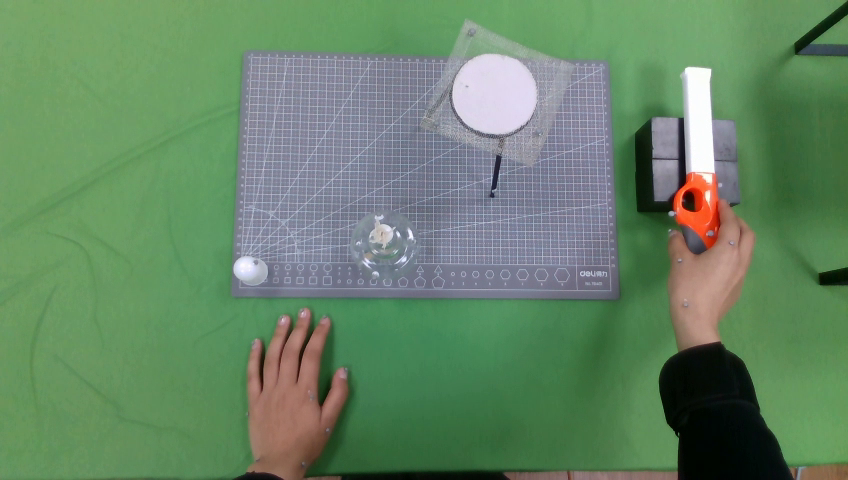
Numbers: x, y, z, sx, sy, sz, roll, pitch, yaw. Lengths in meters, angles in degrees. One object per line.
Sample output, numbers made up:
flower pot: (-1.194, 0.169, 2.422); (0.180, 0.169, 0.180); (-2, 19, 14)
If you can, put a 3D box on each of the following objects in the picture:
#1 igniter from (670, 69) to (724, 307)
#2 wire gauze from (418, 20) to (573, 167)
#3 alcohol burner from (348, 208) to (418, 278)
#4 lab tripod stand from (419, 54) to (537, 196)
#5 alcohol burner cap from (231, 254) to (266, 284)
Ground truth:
igniter: (0.306, -0.061, 0.681); (0.057, 0.025, 0.275); (4, 79, -1)
wire gauze: (0.073, -0.146, 0.604); (0.121, 0.011, 0.124); (23, 79, 1)
alcohol burner: (-0.045, 0.001, 0.651); (0.078, 0.119, 0.077); (1, 82, -3)
lab tripod stand: (0.068, -0.137, 0.670); (0.148, 0.132, 0.147); (1, 78, -3)
alcohol burner cap: (-0.197, 0.030, 0.673); (0.034, 0.048, 0.033); (1, 80, -4)
